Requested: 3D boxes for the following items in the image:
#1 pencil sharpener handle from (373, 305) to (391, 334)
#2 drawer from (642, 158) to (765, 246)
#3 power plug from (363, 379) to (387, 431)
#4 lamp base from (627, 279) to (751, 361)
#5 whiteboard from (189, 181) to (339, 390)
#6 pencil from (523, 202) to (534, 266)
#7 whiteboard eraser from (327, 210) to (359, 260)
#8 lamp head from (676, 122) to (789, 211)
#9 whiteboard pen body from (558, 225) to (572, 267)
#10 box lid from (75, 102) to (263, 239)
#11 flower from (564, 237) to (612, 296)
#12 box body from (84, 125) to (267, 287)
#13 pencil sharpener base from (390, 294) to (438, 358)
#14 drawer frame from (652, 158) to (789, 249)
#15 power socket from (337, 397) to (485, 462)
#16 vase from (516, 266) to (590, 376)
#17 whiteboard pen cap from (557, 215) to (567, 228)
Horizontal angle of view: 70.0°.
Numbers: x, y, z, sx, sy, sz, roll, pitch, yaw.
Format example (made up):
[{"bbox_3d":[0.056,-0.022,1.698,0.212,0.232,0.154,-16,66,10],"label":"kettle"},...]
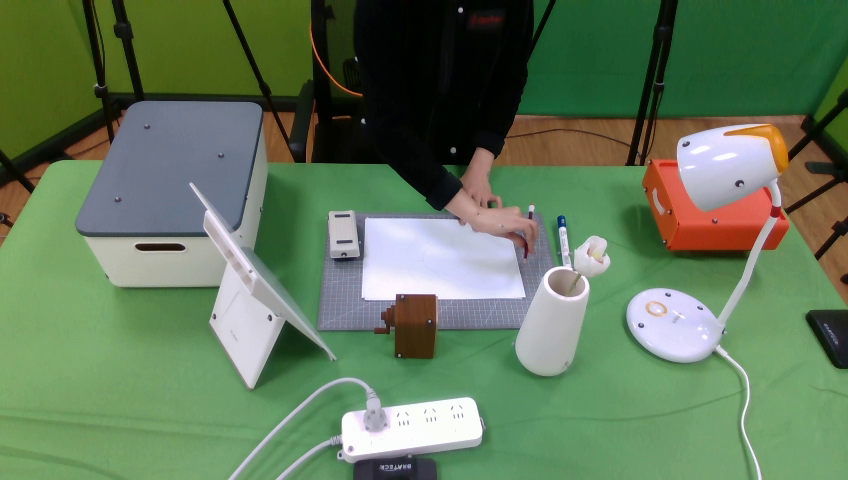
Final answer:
[{"bbox_3d":[-0.068,0.133,0.989,0.030,0.068,0.036,1,47,-2],"label":"pencil sharpener handle"},{"bbox_3d":[0.565,-0.076,1.211,0.212,0.073,0.193,2,45,-2],"label":"drawer"},{"bbox_3d":[-0.072,0.252,0.910,0.035,0.053,0.072,3,45,-1],"label":"power plug"},{"bbox_3d":[0.459,0.100,1.027,0.178,0.181,0.160,27,51,17],"label":"lamp base"},{"bbox_3d":[-0.292,0.096,0.929,0.144,0.307,0.216,-37,57,-10],"label":"whiteboard"},{"bbox_3d":[0.204,-0.013,1.182,0.012,0.012,0.193,11,42,6],"label":"pencil"},{"bbox_3d":[-0.158,-0.009,1.177,0.055,0.042,0.112,-6,47,-7],"label":"whiteboard eraser"},{"bbox_3d":[0.423,-0.104,0.819,0.122,0.113,0.112,-13,33,40],"label":"lamp head"},{"bbox_3d":[0.280,0.010,1.208,0.017,0.017,0.140,3,50,-1],"label":"whiteboard pen body"},{"bbox_3d":[-0.443,-0.138,1.094,0.263,0.015,0.369,-1,47,-5],"label":"box lid"},{"bbox_3d":[0.206,0.088,0.893,0.038,0.363,0.044,-17,67,-9],"label":"flower"},{"bbox_3d":[-0.446,-0.088,1.150,0.254,0.161,0.361,-1,46,-5],"label":"box body"},{"bbox_3d":[-0.018,0.143,1.000,0.077,0.107,0.061,1,46,-2],"label":"pencil sharpener base"},{"bbox_3d":[0.571,-0.075,1.214,0.214,0.083,0.200,0,45,-1],"label":"drawer frame"},{"bbox_3d":[-0.018,0.285,0.915,0.227,0.033,0.071,-5,46,-8],"label":"power socket"},{"bbox_3d":[0.208,0.132,0.964,0.098,0.201,0.097,3,46,-3],"label":"vase"},{"bbox_3d":[0.284,-0.035,1.246,0.018,0.018,0.033,4,51,-1],"label":"whiteboard pen cap"}]
